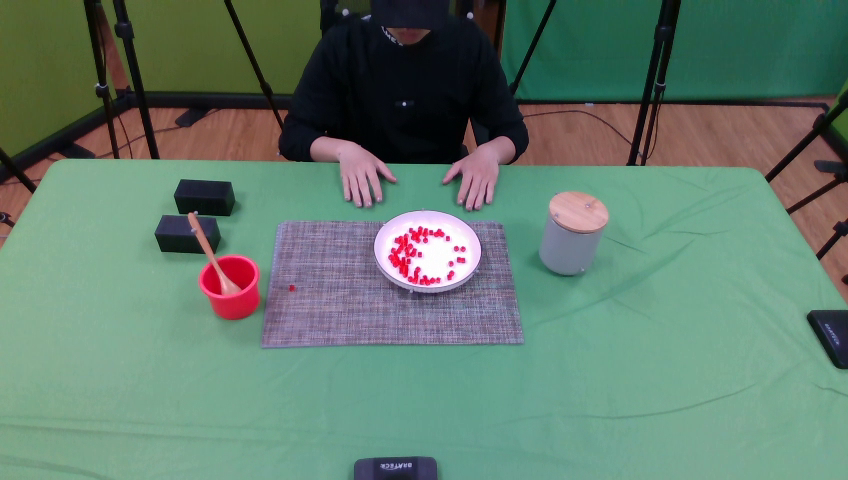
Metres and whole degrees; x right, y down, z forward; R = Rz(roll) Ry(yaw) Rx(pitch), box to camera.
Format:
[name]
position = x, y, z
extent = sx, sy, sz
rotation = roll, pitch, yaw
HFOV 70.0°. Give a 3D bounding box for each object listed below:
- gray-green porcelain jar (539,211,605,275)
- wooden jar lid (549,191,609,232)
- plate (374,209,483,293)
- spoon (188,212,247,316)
[gray-green porcelain jar]
position = 0.278, -0.004, 1.148
extent = 0.106, 0.127, 0.105
rotation = 2, 46, -2
[wooden jar lid]
position = 0.280, -0.049, 1.101
extent = 0.108, 0.021, 0.107
rotation = 2, 44, -2
[plate]
position = 0.008, 0.024, 1.158
extent = 0.208, 0.039, 0.206
rotation = 2, 46, -2
[spoon]
position = -0.358, 0.042, 1.036
extent = 0.041, 0.021, 0.194
rotation = -28, 93, -21
